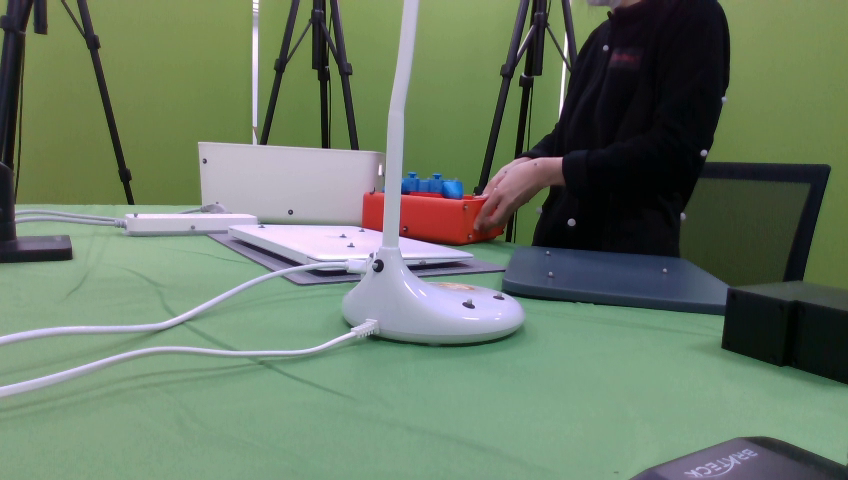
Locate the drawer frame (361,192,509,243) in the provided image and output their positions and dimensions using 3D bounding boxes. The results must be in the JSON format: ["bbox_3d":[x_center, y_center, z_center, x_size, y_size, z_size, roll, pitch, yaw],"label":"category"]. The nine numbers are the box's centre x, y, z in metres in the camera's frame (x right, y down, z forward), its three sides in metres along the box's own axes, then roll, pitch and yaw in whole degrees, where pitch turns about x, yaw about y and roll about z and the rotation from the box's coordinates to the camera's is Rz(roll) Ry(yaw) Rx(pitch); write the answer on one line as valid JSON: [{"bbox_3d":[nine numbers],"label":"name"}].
[{"bbox_3d":[0.024,-0.049,1.153,0.212,0.082,0.202,6,8,30],"label":"drawer frame"}]

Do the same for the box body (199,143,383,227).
[{"bbox_3d":[-0.276,-0.124,1.335,0.364,0.160,0.254,3,7,1],"label":"box body"}]

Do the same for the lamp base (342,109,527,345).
[{"bbox_3d":[0.006,-0.015,0.505,0.160,0.180,0.180,6,11,29],"label":"lamp base"}]

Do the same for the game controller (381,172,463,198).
[{"bbox_3d":[0.001,-0.102,1.159,0.155,0.051,0.097,4,3,7],"label":"game controller"}]

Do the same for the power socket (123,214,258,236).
[{"bbox_3d":[-0.398,-0.028,1.049,0.228,0.032,0.072,-3,8,-34],"label":"power socket"}]

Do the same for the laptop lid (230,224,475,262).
[{"bbox_3d":[-0.119,0.000,0.889,0.243,0.013,0.355,1,7,-33],"label":"laptop lid"}]

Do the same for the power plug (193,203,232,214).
[{"bbox_3d":[-0.394,-0.042,1.139,0.072,0.052,0.035,-13,2,31],"label":"power plug"}]

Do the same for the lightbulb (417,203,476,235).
[{"bbox_3d":[0.041,-0.034,1.098,0.108,0.059,0.059,-9,8,-2],"label":"lightbulb"}]

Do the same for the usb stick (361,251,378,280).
[{"bbox_3d":[-0.051,0.033,0.656,0.027,0.021,0.059,4,-27,-20],"label":"usb stick"}]

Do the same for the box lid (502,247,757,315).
[{"bbox_3d":[0.244,0.044,0.793,0.263,0.015,0.372,4,7,11],"label":"box lid"}]

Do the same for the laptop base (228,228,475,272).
[{"bbox_3d":[-0.122,0.011,0.889,0.237,0.023,0.352,2,6,-35],"label":"laptop base"}]

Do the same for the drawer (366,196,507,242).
[{"bbox_3d":[0.025,-0.049,1.152,0.211,0.073,0.195,7,9,29],"label":"drawer"}]
